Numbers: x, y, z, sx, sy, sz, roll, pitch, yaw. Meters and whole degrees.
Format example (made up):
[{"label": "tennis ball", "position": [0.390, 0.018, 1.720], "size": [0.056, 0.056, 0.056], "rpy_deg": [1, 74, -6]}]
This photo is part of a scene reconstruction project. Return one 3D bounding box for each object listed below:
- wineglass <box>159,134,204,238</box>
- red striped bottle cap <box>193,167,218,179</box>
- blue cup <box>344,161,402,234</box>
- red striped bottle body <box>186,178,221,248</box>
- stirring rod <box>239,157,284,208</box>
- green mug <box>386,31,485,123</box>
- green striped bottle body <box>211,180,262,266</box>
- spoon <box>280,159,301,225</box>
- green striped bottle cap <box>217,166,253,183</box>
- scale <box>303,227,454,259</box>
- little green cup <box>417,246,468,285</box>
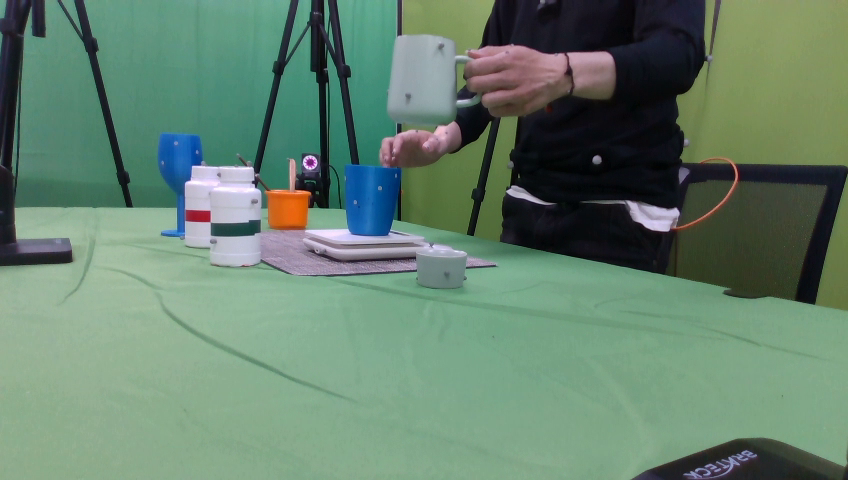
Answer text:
[{"label": "wineglass", "position": [-0.415, -0.093, 1.040], "size": [0.074, 0.172, 0.073], "rpy_deg": [2, 7, 0]}, {"label": "red striped bottle cap", "position": [-0.329, -0.103, 0.921], "size": [0.044, 0.017, 0.044], "rpy_deg": [0, 9, 0]}, {"label": "blue cup", "position": [-0.078, -0.062, 0.884], "size": [0.093, 0.100, 0.092], "rpy_deg": [4, 6, 0]}, {"label": "red striped bottle body", "position": [-0.331, -0.050, 0.927], "size": [0.063, 0.119, 0.063], "rpy_deg": [2, 6, 0]}, {"label": "stirring rod", "position": [-0.309, -0.098, 1.209], "size": [0.006, 0.177, 0.014], "rpy_deg": [-39, 29, -4]}, {"label": "green mug", "position": [0.016, -0.206, 0.778], "size": [0.125, 0.105, 0.092], "rpy_deg": [3, 8, 6]}, {"label": "green striped bottle body", "position": [-0.243, -0.029, 0.784], "size": [0.063, 0.119, 0.063], "rpy_deg": [2, 7, 0]}, {"label": "spoon", "position": [-0.273, -0.102, 1.252], "size": [0.042, 0.193, 0.021], "rpy_deg": [7, -38, -17]}, {"label": "green striped bottle cap", "position": [-0.242, -0.085, 0.776], "size": [0.044, 0.020, 0.044], "rpy_deg": [2, 8, 0]}, {"label": "scale", "position": [-0.066, 0.001, 0.906], "size": [0.202, 0.031, 0.148], "rpy_deg": [-2, 8, -31]}, {"label": "little green cup", "position": [0.021, 0.029, 0.702], "size": [0.061, 0.038, 0.061], "rpy_deg": [1, 6, 0]}]
